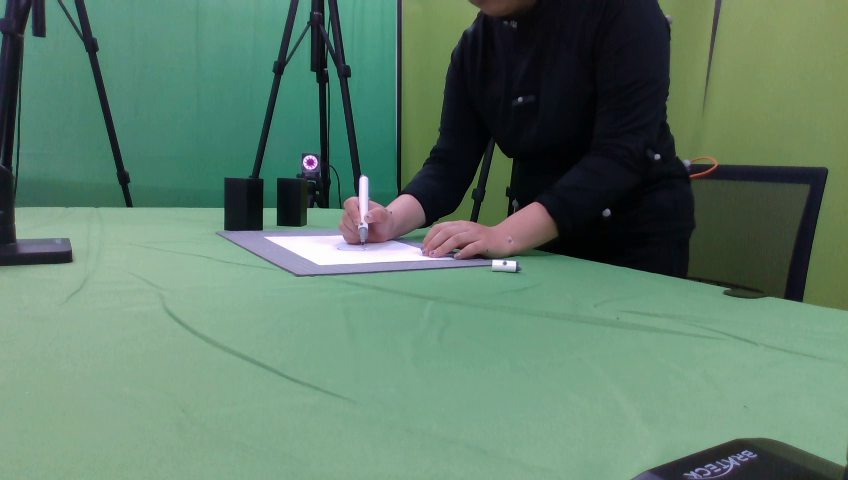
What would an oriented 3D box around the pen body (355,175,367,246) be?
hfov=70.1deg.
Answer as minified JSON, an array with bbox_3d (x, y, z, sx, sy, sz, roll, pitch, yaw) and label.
[{"bbox_3d":[-0.102,-0.048,0.984,0.017,0.017,0.143,-1,52,-1],"label":"pen body"}]

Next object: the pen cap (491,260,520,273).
[{"bbox_3d":[0.110,0.036,0.813,0.038,0.017,0.017,3,7,7],"label":"pen cap"}]
